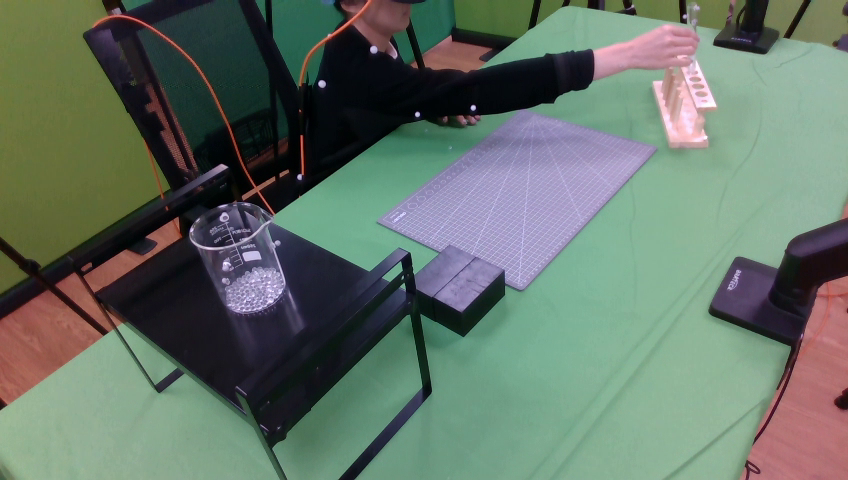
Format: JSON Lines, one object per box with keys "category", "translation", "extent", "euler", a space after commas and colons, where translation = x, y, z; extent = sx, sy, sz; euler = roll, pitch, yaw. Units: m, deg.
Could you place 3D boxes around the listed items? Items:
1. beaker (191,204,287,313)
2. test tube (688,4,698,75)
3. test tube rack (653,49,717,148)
{"category": "beaker", "translation": [-0.189, 0.021, 0.642], "extent": [0.084, 0.101, 0.073], "euler": [-16, 41, -11]}
{"category": "test tube", "translation": [0.496, -0.364, 1.114], "extent": [0.017, 0.151, 0.017], "euler": [-12, 45, 13]}
{"category": "test tube rack", "translation": [0.502, -0.281, 1.177], "extent": [0.066, 0.085, 0.241], "euler": [1, 41, 10]}
